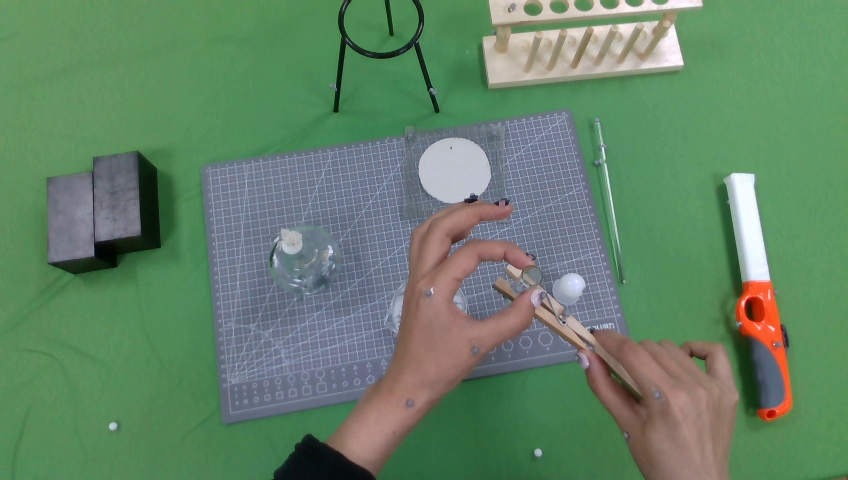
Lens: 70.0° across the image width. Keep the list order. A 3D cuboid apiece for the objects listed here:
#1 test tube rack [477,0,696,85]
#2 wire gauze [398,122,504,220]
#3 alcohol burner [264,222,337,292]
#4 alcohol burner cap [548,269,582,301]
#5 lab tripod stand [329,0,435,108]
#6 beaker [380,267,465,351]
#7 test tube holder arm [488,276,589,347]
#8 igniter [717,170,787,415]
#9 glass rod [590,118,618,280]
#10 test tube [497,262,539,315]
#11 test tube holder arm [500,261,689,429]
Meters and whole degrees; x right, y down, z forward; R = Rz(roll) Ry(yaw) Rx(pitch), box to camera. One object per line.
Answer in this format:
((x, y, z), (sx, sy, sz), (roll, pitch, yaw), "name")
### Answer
((0.191, -0.247, 0.725), (0.242, 0.085, 0.066), (-6, 75, -2), "test tube rack")
((0.032, -0.084, 0.718), (0.125, 0.011, 0.121), (2, 76, -1), "wire gauze")
((-0.133, 0.013, 0.635), (0.078, 0.120, 0.077), (0, 74, 2), "alcohol burner")
((0.157, 0.047, 0.666), (0.034, 0.048, 0.033), (0, 75, 0), "alcohol burner cap")
((-0.052, -0.213, 0.689), (0.148, 0.132, 0.147), (0, 77, 0), "lab tripod stand")
((-0.001, 0.077, 0.627), (0.084, 0.101, 0.073), (-17, 75, -4), "beaker")
((0.088, 0.055, 0.464), (0.087, 0.015, 0.010), (31, 83, 8), "test tube holder arm")
((0.366, 0.052, 0.678), (0.057, 0.025, 0.275), (1, 75, -11), "igniter")
((0.212, -0.051, 0.713), (0.008, 0.008, 0.198), (-4, 78, -2), "glass rod")
((0.073, 0.042, 0.487), (0.017, 0.151, 0.017), (0, 74, 1), "test tube")
((0.127, 0.078, 0.458), (0.178, 0.015, 0.013), (40, 85, 9), "test tube holder arm")
